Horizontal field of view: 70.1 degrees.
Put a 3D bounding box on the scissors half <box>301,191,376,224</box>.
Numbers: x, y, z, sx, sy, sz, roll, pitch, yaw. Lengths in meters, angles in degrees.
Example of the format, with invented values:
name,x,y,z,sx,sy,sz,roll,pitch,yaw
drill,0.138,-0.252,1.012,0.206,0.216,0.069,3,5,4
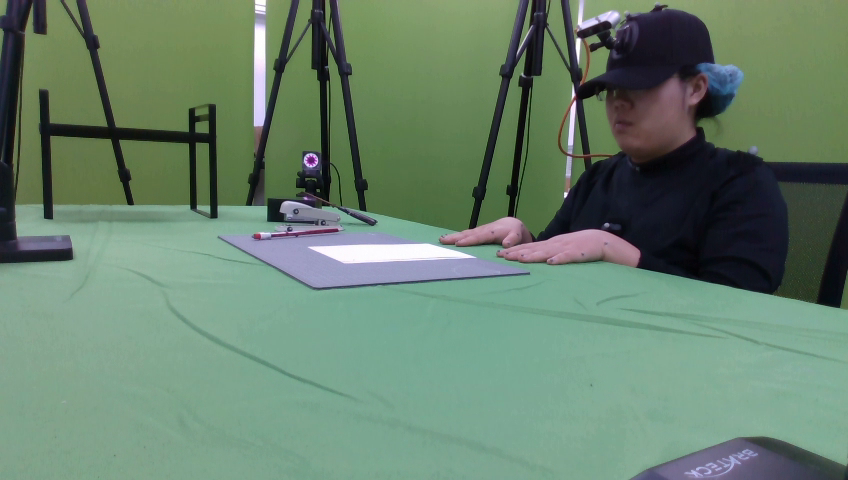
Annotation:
name,x,y,z,sx,sy,sz,roll,pitch,yaw
scissors half,-0.189,-0.073,1.334,0.175,0.013,0.040,22,12,-10

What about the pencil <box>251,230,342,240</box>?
name,x,y,z,sx,sy,sz,roll,pitch,yaw
pencil,-0.215,-0.011,1.049,0.012,0.012,0.195,9,9,39

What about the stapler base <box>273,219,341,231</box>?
name,x,y,z,sx,sy,sz,roll,pitch,yaw
stapler base,-0.225,-0.031,1.172,0.131,0.024,0.041,0,10,-34

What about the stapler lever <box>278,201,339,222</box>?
name,x,y,z,sx,sy,sz,roll,pitch,yaw
stapler lever,-0.223,-0.055,1.170,0.119,0.040,0.026,-1,11,-34

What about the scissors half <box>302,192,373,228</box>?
name,x,y,z,sx,sy,sz,roll,pitch,yaw
scissors half,-0.191,-0.068,1.314,0.175,0.013,0.040,26,17,7
